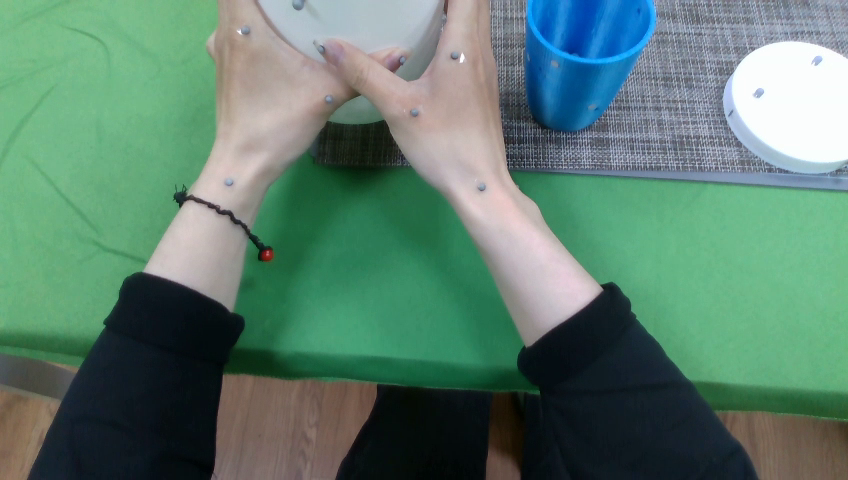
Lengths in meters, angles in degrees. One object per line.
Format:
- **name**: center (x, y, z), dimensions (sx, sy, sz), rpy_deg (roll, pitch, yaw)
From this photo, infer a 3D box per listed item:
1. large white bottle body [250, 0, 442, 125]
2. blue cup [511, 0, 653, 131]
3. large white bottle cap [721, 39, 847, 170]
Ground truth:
- **large white bottle body**: center (-0.051, -0.175, 0.392), dimensions (0.131, 0.185, 0.129), rpy_deg (2, 70, -5)
- **blue cup**: center (0.110, -0.132, 0.443), dimensions (0.092, 0.101, 0.092), rpy_deg (-1, 67, 2)
- **large white bottle cap**: center (0.295, -0.108, 0.476), dimensions (0.115, 0.018, 0.114), rpy_deg (0, 67, 1)
